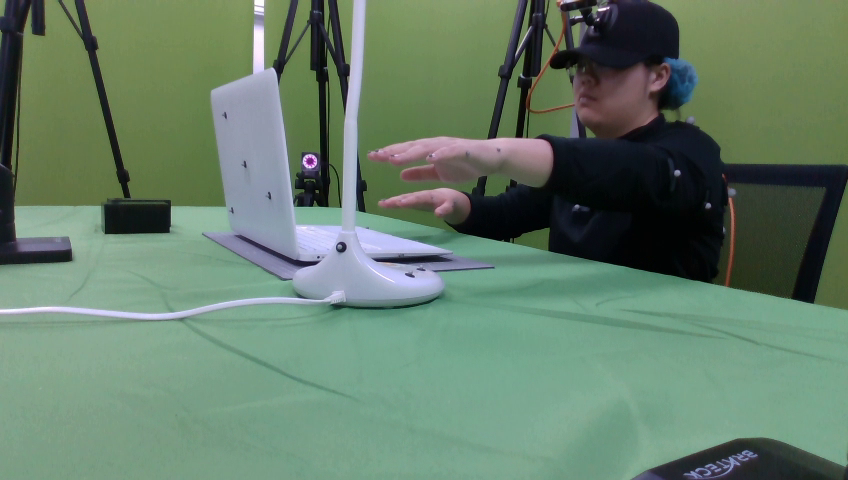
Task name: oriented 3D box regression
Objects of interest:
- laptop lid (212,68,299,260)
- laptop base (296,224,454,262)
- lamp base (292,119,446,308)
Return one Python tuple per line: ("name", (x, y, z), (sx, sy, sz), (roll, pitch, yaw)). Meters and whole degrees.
("laptop lid", (-0.254, -0.111, 0.872), (0.013, 0.241, 0.355), (-11, 14, -30))
("laptop base", (-0.143, 0.003, 0.957), (0.237, 0.023, 0.352), (2, 6, -32))
("lamp base", (-0.056, -0.030, 0.616), (0.160, 0.180, 0.179), (4, 10, 8))
